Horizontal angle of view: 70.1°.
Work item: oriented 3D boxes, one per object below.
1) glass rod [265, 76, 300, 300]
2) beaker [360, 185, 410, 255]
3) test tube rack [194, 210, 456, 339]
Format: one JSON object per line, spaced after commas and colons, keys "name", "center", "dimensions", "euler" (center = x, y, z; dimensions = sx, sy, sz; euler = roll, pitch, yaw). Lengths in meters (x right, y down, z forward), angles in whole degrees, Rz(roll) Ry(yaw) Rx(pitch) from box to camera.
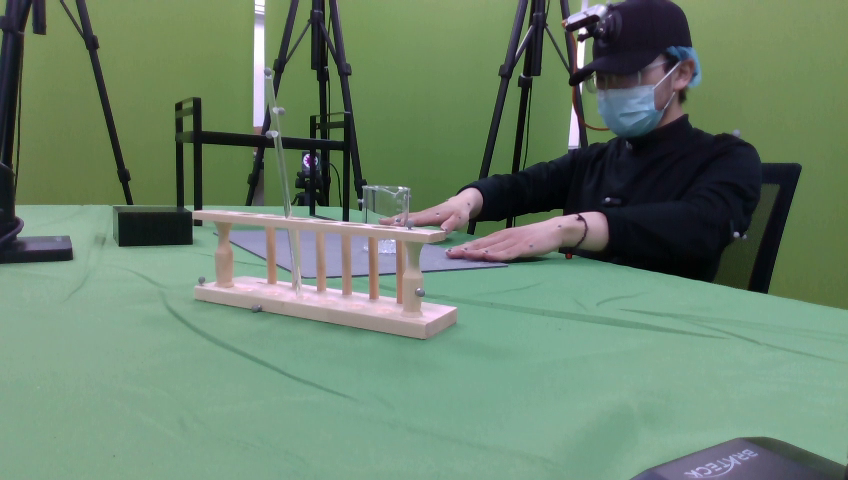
{"name": "glass rod", "center": [-0.124, -0.043, 0.533], "dimensions": [0.008, 0.199, 0.008], "euler": [-6, 7, 1]}
{"name": "beaker", "center": [-0.058, -0.031, 0.907], "dimensions": [0.074, 0.100, 0.083], "euler": [-1, 8, -21]}
{"name": "test tube rack", "center": [-0.093, 0.023, 0.546], "dimensions": [0.241, 0.085, 0.067], "euler": [6, 8, 25]}
